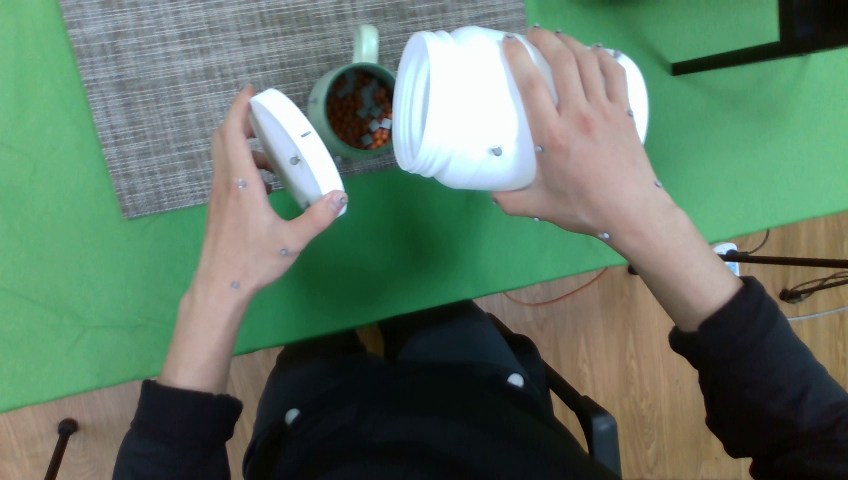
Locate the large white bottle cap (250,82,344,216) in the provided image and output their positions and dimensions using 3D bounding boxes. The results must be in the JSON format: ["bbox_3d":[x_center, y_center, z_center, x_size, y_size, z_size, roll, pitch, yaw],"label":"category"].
[{"bbox_3d":[-0.104,-0.072,0.494,0.018,0.114,0.115,-34,107,-20],"label":"large white bottle cap"}]

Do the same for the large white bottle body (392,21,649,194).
[{"bbox_3d":[0.075,-0.109,0.509,0.185,0.129,0.131,3,99,-18],"label":"large white bottle body"}]

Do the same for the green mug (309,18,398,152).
[{"bbox_3d":[-0.059,-0.147,0.580,0.093,0.104,0.125,4,98,-15],"label":"green mug"}]
